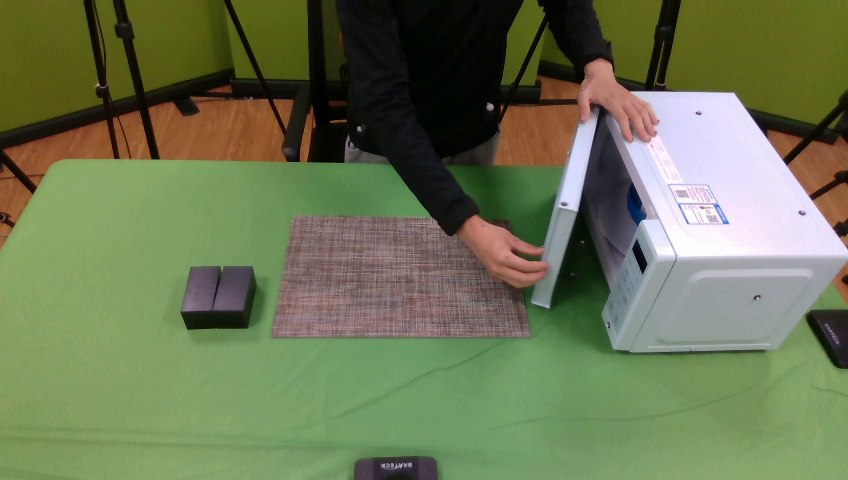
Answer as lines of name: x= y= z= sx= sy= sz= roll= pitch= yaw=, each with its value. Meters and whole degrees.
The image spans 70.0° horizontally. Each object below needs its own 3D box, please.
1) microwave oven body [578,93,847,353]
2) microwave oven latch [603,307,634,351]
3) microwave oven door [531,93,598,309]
microwave oven body: x=0.475 y=-0.041 z=1.109 sx=0.326 sy=0.261 sz=0.438 roll=-1 pitch=45 yaw=-4
microwave oven latch: x=0.332 y=0.153 z=1.044 sx=0.030 sy=0.029 sz=0.078 roll=0 pitch=45 yaw=-3
microwave oven door: x=0.267 y=-0.082 z=1.126 sx=0.039 sy=0.245 sz=0.354 roll=15 pitch=46 yaw=10
